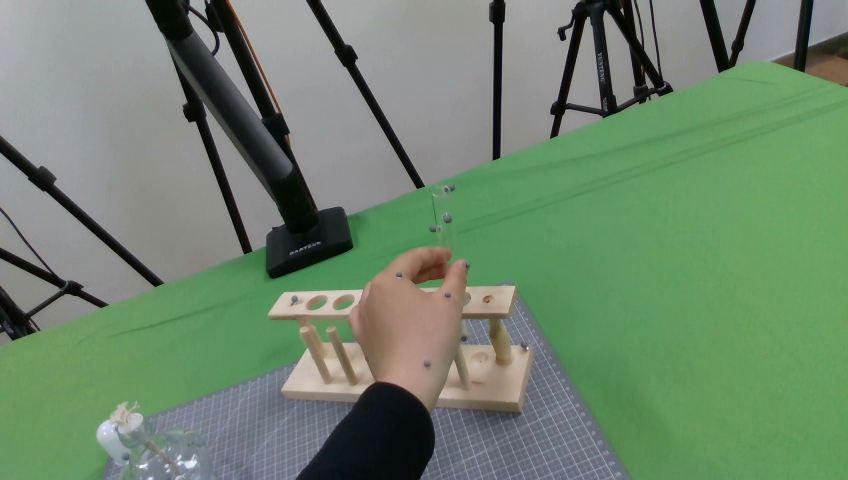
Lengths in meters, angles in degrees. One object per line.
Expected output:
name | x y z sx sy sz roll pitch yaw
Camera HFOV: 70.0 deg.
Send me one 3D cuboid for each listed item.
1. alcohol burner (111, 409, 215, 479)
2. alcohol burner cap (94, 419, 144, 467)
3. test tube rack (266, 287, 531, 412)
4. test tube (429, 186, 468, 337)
alcohol burner | -0.228 0.183 0.511 0.078 0.120 0.077 -12 34 8
alcohol burner cap | -0.303 0.197 0.598 0.034 0.048 0.033 -12 33 9
test tube rack | -0.032 0.100 0.560 0.241 0.086 0.066 -4 35 24
test tube | 0.021 0.023 0.502 0.017 0.151 0.017 -7 34 5
